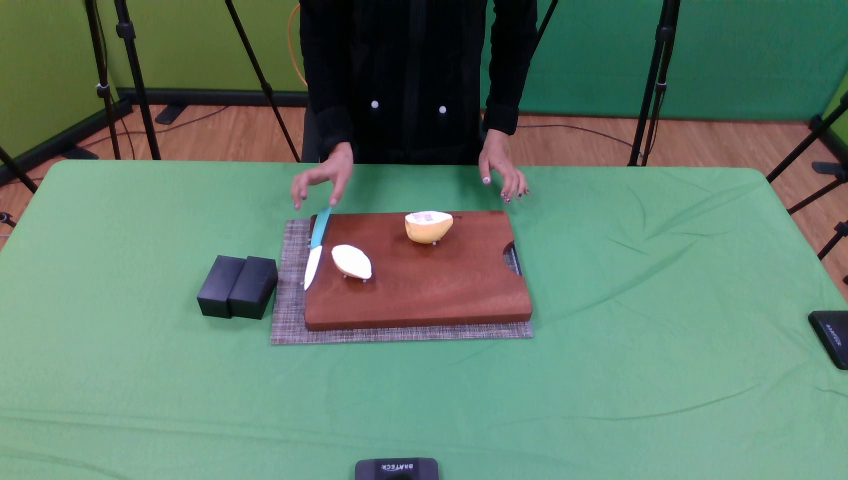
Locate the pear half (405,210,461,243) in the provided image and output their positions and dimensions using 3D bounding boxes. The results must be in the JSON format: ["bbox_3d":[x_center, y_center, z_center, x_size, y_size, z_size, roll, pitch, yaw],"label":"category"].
[{"bbox_3d":[0.021,-0.026,1.160,0.110,0.056,0.076,-9,29,-9],"label":"pear half"}]

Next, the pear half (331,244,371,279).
[{"bbox_3d":[-0.133,0.045,1.097,0.070,0.031,0.087,-22,63,-43],"label":"pear half"}]

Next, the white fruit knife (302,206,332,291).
[{"bbox_3d":[-0.204,0.012,1.136,0.027,0.016,0.206,-5,47,11],"label":"white fruit knife"}]
